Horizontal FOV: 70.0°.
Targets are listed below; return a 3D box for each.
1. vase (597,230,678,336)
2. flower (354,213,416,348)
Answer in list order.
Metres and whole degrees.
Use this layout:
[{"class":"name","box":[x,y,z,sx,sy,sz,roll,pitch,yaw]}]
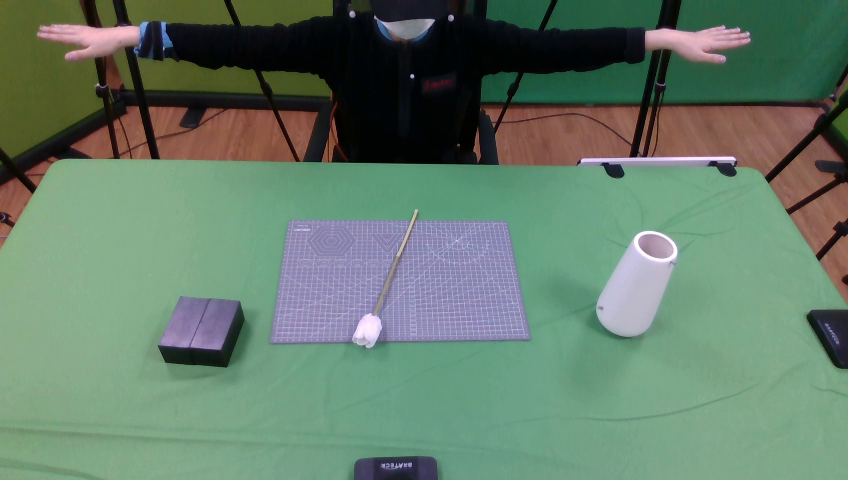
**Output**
[{"class":"vase","box":[0.360,0.077,1.026,0.098,0.201,0.097,1,47,-1]},{"class":"flower","box":[-0.060,0.058,1.139,0.044,0.038,0.360,-20,31,29]}]
